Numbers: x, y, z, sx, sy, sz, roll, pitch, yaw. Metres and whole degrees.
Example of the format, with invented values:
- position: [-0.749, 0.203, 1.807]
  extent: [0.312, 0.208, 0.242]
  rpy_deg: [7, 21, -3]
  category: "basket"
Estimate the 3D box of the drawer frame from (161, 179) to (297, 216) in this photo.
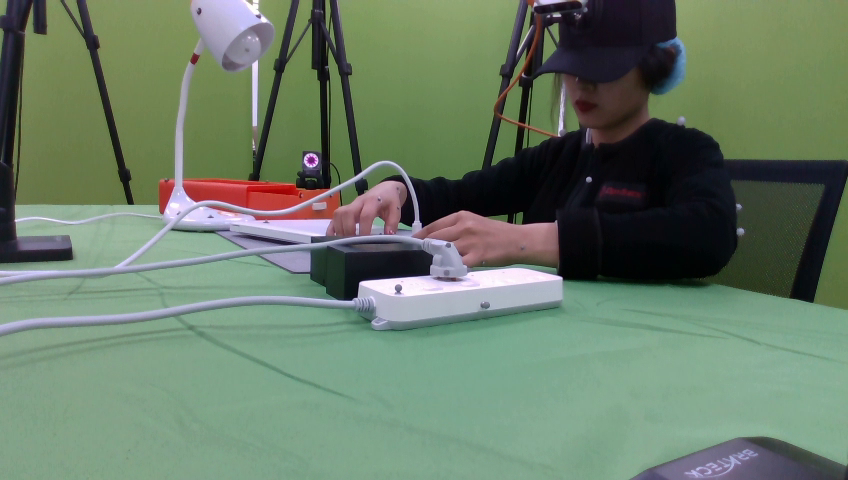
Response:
- position: [-0.421, -0.089, 1.330]
  extent: [0.213, 0.082, 0.202]
  rpy_deg: [4, 8, 16]
  category: "drawer frame"

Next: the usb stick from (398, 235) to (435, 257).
- position: [-0.010, 0.008, 0.816]
  extent: [0.059, 0.027, 0.021]
  rpy_deg: [0, 7, 37]
  category: "usb stick"

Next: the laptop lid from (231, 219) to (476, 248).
- position: [-0.119, -0.016, 1.000]
  extent: [0.355, 0.013, 0.243]
  rpy_deg: [8, 7, 39]
  category: "laptop lid"

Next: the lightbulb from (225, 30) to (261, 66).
- position: [-0.317, -0.335, 1.002]
  extent: [0.107, 0.059, 0.059]
  rpy_deg: [46, 16, 6]
  category: "lightbulb"

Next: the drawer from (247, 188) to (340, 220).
- position: [-0.314, -0.078, 1.301]
  extent: [0.211, 0.073, 0.195]
  rpy_deg: [4, 8, 15]
  category: "drawer"

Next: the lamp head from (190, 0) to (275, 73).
- position: [-0.331, -0.355, 1.009]
  extent: [0.123, 0.112, 0.112]
  rpy_deg: [43, 15, 6]
  category: "lamp head"

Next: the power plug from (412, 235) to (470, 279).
- position: [0.017, 0.023, 0.588]
  extent: [0.035, 0.052, 0.072]
  rpy_deg: [-1, 8, -24]
  category: "power plug"

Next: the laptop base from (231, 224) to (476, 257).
- position: [-0.121, -0.004, 1.000]
  extent: [0.352, 0.023, 0.237]
  rpy_deg: [8, 6, 38]
  category: "laptop base"

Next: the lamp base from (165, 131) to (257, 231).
- position: [-0.407, -0.112, 1.119]
  extent: [0.179, 0.180, 0.161]
  rpy_deg: [-1, 7, 7]
  category: "lamp base"

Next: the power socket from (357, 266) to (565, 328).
- position: [0.041, 0.049, 0.572]
  extent: [0.228, 0.032, 0.072]
  rpy_deg: [-3, 8, -35]
  category: "power socket"

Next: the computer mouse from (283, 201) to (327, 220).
- position: [-0.254, -0.062, 1.293]
  extent: [0.063, 0.041, 0.117]
  rpy_deg: [0, 2, 10]
  category: "computer mouse"
